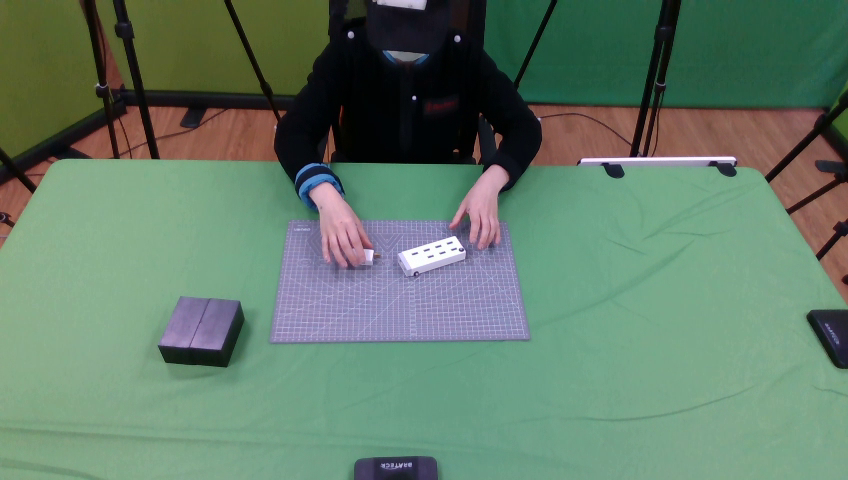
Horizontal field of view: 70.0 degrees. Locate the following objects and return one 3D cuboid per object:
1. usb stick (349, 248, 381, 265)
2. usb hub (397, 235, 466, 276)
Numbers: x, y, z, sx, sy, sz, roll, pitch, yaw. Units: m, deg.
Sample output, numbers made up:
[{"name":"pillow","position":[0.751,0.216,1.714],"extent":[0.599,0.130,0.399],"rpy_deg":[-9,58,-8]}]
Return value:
[{"name":"usb stick","position":[-0.112,0.032,1.151],"extent":[0.059,0.021,0.027],"rpy_deg":[2,56,1]},{"name":"usb hub","position":[0.015,0.030,1.162],"extent":[0.125,0.025,0.049],"rpy_deg":[-17,51,-19]}]
